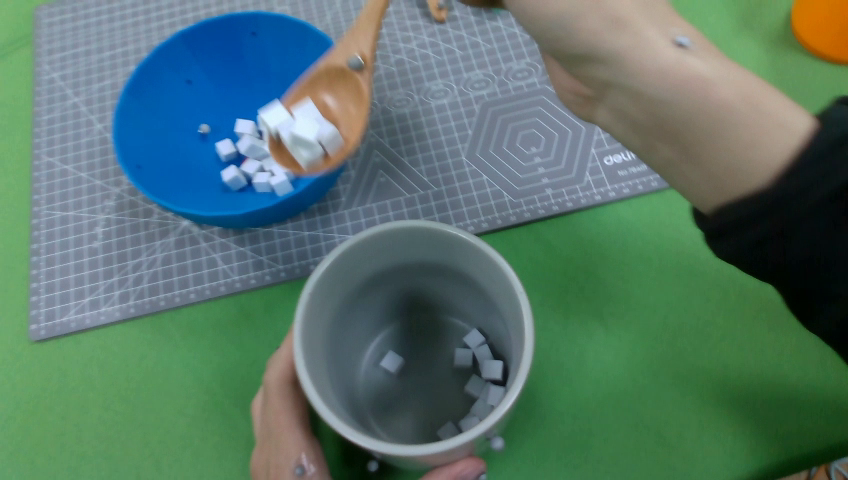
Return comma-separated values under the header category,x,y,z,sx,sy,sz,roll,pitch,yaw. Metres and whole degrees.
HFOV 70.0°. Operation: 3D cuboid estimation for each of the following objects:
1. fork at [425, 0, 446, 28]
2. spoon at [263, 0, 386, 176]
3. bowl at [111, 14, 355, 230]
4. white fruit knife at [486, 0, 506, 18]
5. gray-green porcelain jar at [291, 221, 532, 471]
category,x,y,z,sx,sy,sz,roll,pitch,yaw
fork,-0.016,-0.269,0.485,0.028,0.018,0.207,-16,85,-9
spoon,-0.015,-0.115,0.266,0.041,0.022,0.194,31,98,10
bowl,-0.113,-0.064,0.401,0.151,0.077,0.150,-1,66,3
white fruit knife,0.032,-0.278,0.488,0.016,0.027,0.206,-14,80,-4
gray-green porcelain jar,-0.002,0.064,0.317,0.106,0.127,0.105,-1,66,3
